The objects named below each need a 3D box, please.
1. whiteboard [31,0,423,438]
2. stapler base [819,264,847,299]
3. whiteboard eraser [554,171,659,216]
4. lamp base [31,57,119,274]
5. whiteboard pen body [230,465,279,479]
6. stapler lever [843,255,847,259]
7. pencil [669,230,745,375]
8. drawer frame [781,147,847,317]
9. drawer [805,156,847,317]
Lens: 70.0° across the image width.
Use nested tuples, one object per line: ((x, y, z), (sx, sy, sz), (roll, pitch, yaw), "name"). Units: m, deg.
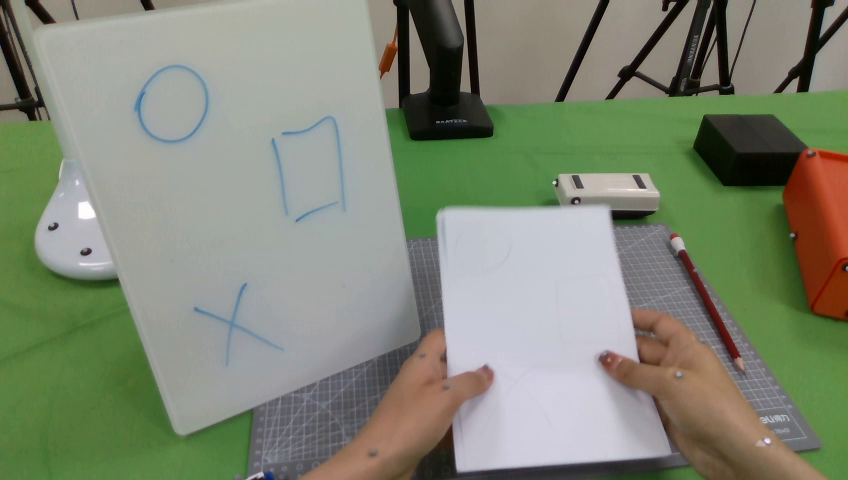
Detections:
((-0.146, -0.036, 0.511), (0.218, 0.307, 0.142), (-18, 24, -22), "whiteboard")
((0.465, 0.049, 0.601), (0.130, 0.024, 0.041), (16, 48, 4), "stapler base")
((0.215, -0.055, 0.718), (0.113, 0.042, 0.055), (0, 40, -3), "whiteboard eraser")
((-0.336, -0.082, 0.609), (0.178, 0.182, 0.160), (22, 43, 26), "lamp base")
((-0.169, 0.187, 0.413), (0.141, 0.017, 0.017), (-16, 42, -23), "whiteboard pen body")
((0.469, 0.034, 0.586), (0.118, 0.040, 0.026), (13, 48, 8), "stapler lever")
((0.281, 0.055, 0.607), (0.012, 0.012, 0.192), (0, 42, -2), "pencil")
((0.504, 0.000, 0.633), (0.201, 0.083, 0.212), (11, 39, 12), "drawer frame")
((0.505, 0.003, 0.631), (0.194, 0.074, 0.210), (12, 39, 12), "drawer")
